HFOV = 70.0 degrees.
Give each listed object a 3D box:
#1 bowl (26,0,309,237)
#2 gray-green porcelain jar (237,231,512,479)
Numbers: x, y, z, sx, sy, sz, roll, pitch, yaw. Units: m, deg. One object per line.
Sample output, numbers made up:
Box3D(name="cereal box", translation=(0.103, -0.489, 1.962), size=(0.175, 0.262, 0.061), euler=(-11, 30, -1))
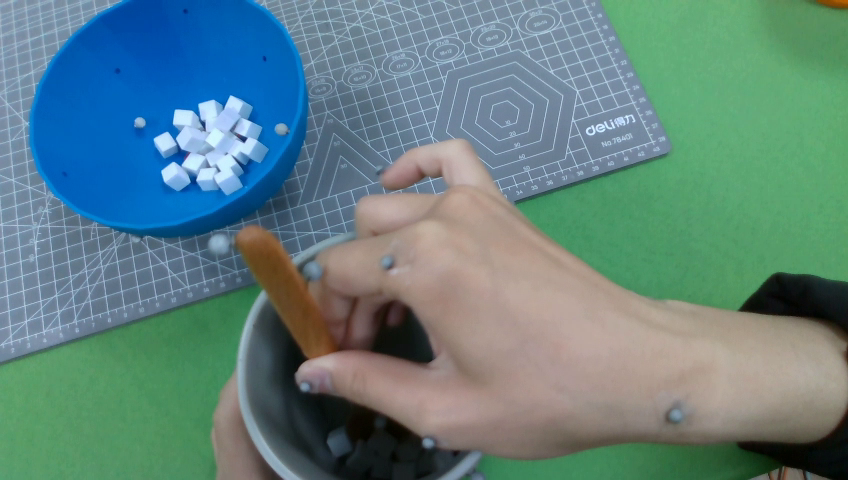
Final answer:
Box3D(name="bowl", translation=(-0.135, -0.063, 0.358), size=(0.151, 0.077, 0.150), euler=(-1, 71, 3))
Box3D(name="gray-green porcelain jar", translation=(-0.014, 0.065, 0.286), size=(0.106, 0.127, 0.105), euler=(-1, 71, 4))
